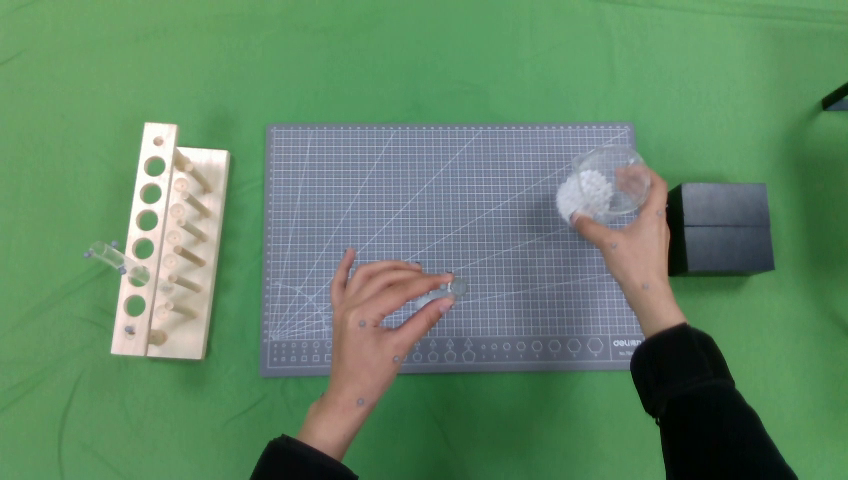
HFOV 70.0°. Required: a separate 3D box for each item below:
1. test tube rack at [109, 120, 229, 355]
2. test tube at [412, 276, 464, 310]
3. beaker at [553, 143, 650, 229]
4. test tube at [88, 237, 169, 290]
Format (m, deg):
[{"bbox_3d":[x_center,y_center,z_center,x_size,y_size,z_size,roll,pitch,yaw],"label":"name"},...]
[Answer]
[{"bbox_3d":[-0.272,0.001,0.660,0.067,0.085,0.241,4,79,-1],"label":"test tube rack"},{"bbox_3d":[0.010,0.052,0.567,0.017,0.150,0.017,3,78,-13],"label":"test tube"},{"bbox_3d":[0.184,-0.056,0.656,0.084,0.100,0.074,29,79,2],"label":"beaker"},{"bbox_3d":[-0.290,0.027,0.605,0.017,0.151,0.017,0,72,0],"label":"test tube"}]
